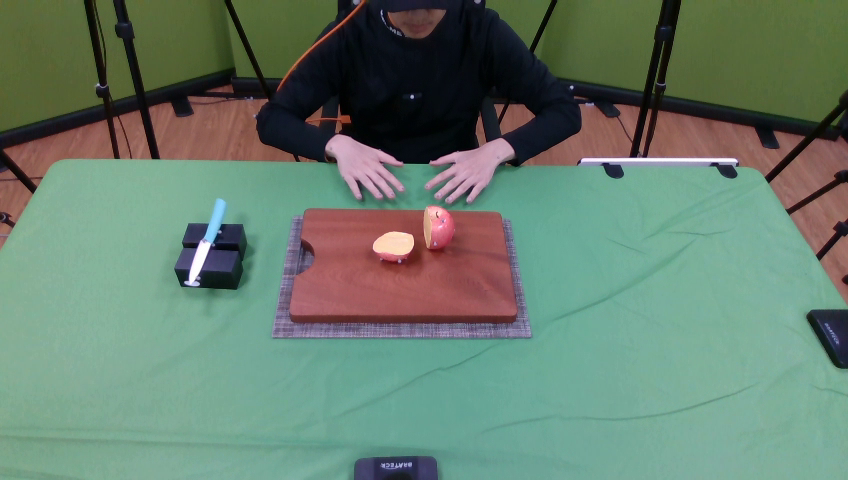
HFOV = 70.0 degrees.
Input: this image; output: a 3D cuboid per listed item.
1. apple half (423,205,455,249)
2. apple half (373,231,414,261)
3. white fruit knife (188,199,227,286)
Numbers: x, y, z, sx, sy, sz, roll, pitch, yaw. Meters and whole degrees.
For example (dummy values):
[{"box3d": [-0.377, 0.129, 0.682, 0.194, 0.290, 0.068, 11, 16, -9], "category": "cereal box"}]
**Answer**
[{"box3d": [0.030, -0.023, 1.144, 0.053, 0.075, 0.080, -2, 42, -12], "category": "apple half"}, {"box3d": [-0.053, 0.017, 1.127, 0.081, 0.033, 0.081, -3, 33, 2], "category": "apple half"}, {"box3d": [-0.393, 0.001, 1.105, 0.027, 0.016, 0.206, -3, 50, 9], "category": "white fruit knife"}]
